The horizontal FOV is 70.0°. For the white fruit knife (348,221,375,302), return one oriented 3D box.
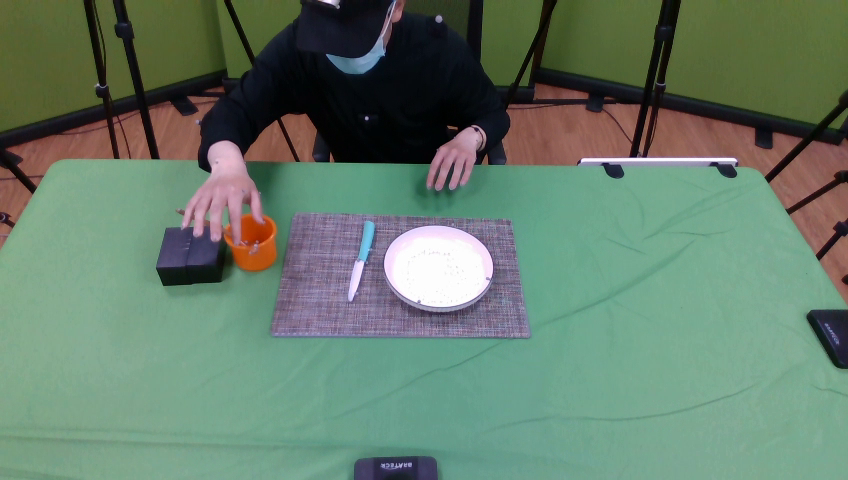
[{"bbox_3d":[-0.119,0.037,1.153,0.027,0.016,0.206,-15,43,25],"label":"white fruit knife"}]

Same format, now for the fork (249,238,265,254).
[{"bbox_3d":[-0.299,0.009,1.076,0.028,0.018,0.207,5,1,-14],"label":"fork"}]

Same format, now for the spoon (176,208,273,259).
[{"bbox_3d":[-0.355,-0.010,1.087,0.021,0.195,0.041,-57,35,-6],"label":"spoon"}]

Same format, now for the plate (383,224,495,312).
[{"bbox_3d":[0.026,0.055,1.128,0.209,0.038,0.208,2,46,-2],"label":"plate"}]
